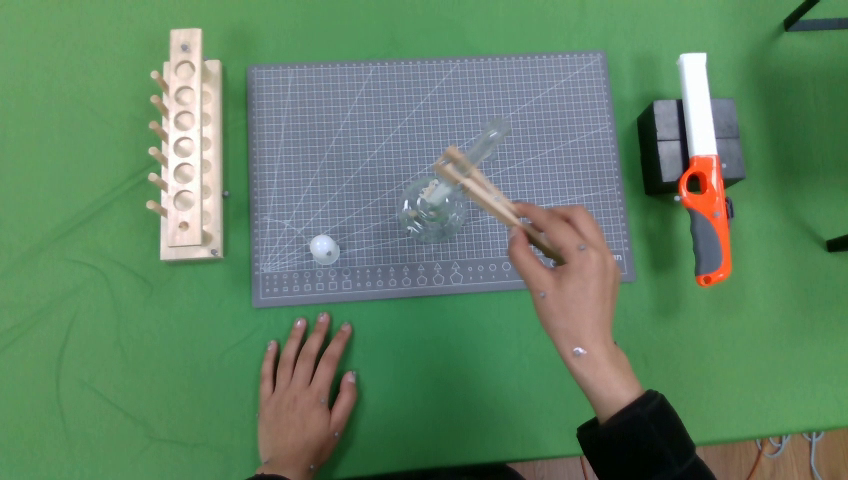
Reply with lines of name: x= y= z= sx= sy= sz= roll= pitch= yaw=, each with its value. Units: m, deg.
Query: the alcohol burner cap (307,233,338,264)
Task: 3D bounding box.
alcohol burner cap: x=-0.117 y=0.007 z=0.688 sx=0.034 sy=0.048 sz=0.033 roll=1 pitch=78 yaw=-3

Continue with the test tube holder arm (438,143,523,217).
test tube holder arm: x=0.049 y=-0.048 z=0.519 sx=0.088 sy=0.015 sz=0.010 roll=43 pitch=62 yaw=-6

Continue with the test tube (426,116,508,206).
test tube: x=0.031 y=-0.061 z=0.508 sx=0.017 sy=0.150 sz=0.017 roll=6 pitch=70 yaw=-18

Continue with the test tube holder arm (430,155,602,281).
test tube holder arm: x=0.081 y=-0.017 z=0.523 sx=0.179 sy=0.015 sz=0.013 roll=36 pitch=64 yaw=-9

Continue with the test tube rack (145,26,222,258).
test tube rack: x=-0.272 y=-0.106 z=0.680 sx=0.067 sy=0.085 sz=0.241 roll=-3 pitch=80 yaw=-3

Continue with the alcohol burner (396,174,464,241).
alcohol burner: x=0.007 y=-0.039 z=0.668 sx=0.078 sy=0.119 sz=0.077 roll=0 pitch=80 yaw=-2

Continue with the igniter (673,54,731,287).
igniter: x=0.316 y=-0.083 z=0.694 sx=0.057 sy=0.025 sz=0.275 roll=-1 pitch=79 yaw=2
